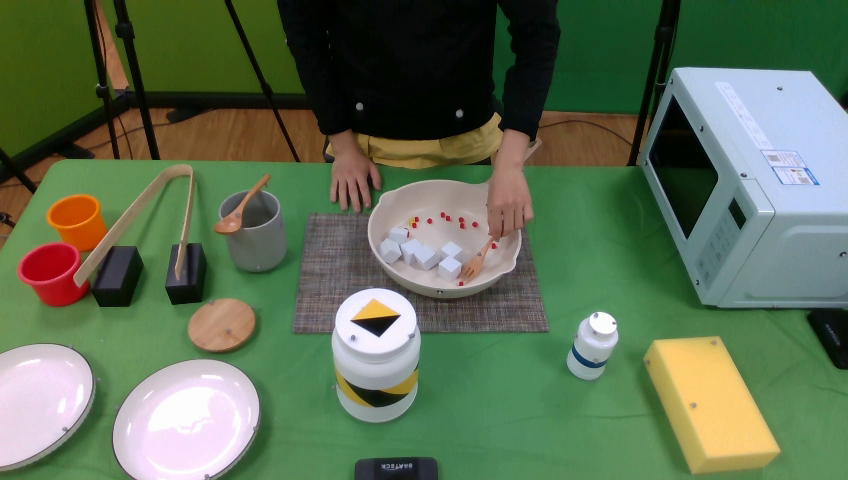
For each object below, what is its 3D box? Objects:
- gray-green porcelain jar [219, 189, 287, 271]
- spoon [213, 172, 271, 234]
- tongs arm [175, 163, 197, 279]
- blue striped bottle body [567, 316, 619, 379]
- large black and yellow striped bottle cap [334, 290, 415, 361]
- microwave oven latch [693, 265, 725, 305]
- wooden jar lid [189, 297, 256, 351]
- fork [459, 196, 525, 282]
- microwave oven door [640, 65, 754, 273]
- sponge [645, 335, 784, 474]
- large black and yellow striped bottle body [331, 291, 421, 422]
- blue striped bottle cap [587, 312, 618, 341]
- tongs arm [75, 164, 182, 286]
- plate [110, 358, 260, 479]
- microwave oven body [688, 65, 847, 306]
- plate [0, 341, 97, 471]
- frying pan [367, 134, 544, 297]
[{"bbox_3d":[-0.309,-0.014,1.113,0.106,0.127,0.105,2,46,-2],"label":"gray-green porcelain jar"},{"bbox_3d":[-0.312,-0.069,1.068,0.041,0.022,0.193,10,43,10],"label":"spoon"},{"bbox_3d":[-0.462,-0.049,1.149,0.051,0.026,0.382,-8,36,-7],"label":"tongs arm"},{"bbox_3d":[0.276,0.168,0.984,0.063,0.121,0.062,2,46,-2],"label":"blue striped bottle body"},{"bbox_3d":[-0.069,0.117,0.850,0.115,0.019,0.114,2,45,-2],"label":"large black and yellow striped bottle cap"},{"bbox_3d":[0.523,0.081,1.116,0.030,0.029,0.078,2,46,-1],"label":"microwave oven latch"},{"bbox_3d":[-0.342,0.145,1.033,0.108,0.021,0.107,2,45,-2],"label":"wooden jar lid"},{"bbox_3d":[0.133,-0.004,1.154,0.028,0.019,0.207,33,78,17],"label":"fork"},{"bbox_3d":[0.522,-0.147,1.193,0.039,0.245,0.353,0,47,-3],"label":"microwave oven door"},{"bbox_3d":[0.449,0.253,0.956,0.118,0.061,0.205,-4,46,-7],"label":"sponge"},{"bbox_3d":[-0.071,0.175,0.911,0.131,0.185,0.130,2,47,-2],"label":"large black and yellow striped bottle body"},{"bbox_3d":[0.279,0.134,0.946,0.044,0.021,0.044,2,44,-2],"label":"blue striped bottle cap"},{"bbox_3d":[-0.547,-0.043,1.143,0.028,0.028,0.385,-3,34,7],"label":"tongs arm"},{"bbox_3d":[-0.349,0.273,0.899,0.208,0.039,0.206,2,46,-2],"label":"plate"},{"bbox_3d":[0.669,-0.111,1.176,0.326,0.261,0.439,0,46,-3],"label":"microwave oven body"},{"bbox_3d":[-0.599,0.247,0.904,0.209,0.038,0.208,2,47,-2],"label":"plate"},{"bbox_3d":[0.104,-0.068,1.205,0.305,0.103,0.487,32,61,23],"label":"frying pan"}]
